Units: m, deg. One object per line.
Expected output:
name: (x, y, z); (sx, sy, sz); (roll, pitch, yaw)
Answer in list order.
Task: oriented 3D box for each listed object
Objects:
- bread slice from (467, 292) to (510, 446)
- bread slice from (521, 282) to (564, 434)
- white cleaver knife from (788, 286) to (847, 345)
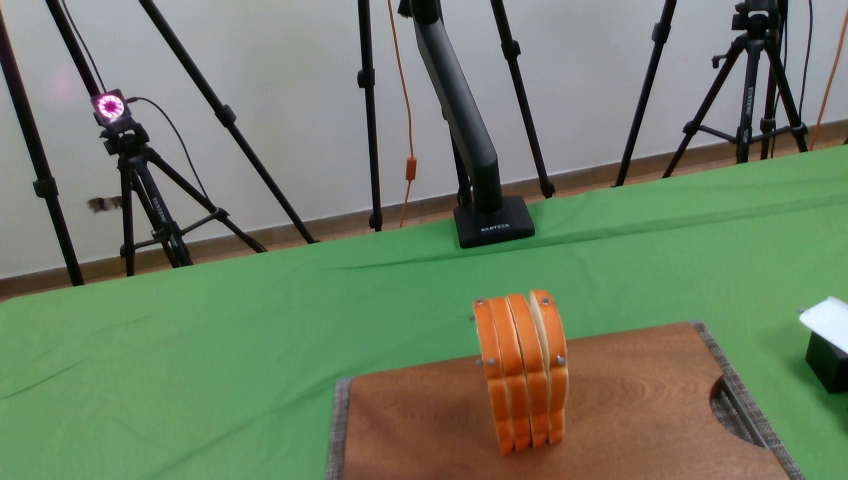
bread slice: (0.063, 0.118, 0.600); (0.018, 0.135, 0.106); (-11, 31, 2)
bread slice: (0.116, 0.109, 0.598); (0.019, 0.133, 0.104); (-7, 35, -2)
white cleaver knife: (0.458, 0.123, 0.541); (0.066, 0.022, 0.283); (-19, 36, -11)
